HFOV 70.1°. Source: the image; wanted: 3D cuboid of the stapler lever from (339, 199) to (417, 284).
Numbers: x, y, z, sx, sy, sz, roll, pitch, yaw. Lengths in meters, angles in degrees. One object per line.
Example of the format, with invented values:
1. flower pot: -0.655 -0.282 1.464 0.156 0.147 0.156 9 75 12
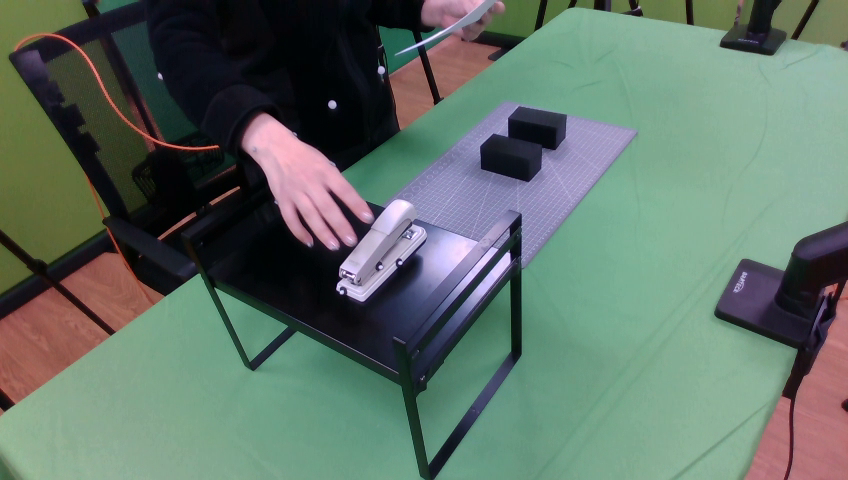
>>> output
1. stapler lever: -0.049 -0.002 0.668 0.026 0.040 0.118 18 47 31

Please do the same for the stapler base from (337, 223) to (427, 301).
1. stapler base: -0.046 0.015 0.685 0.041 0.024 0.131 18 48 31
